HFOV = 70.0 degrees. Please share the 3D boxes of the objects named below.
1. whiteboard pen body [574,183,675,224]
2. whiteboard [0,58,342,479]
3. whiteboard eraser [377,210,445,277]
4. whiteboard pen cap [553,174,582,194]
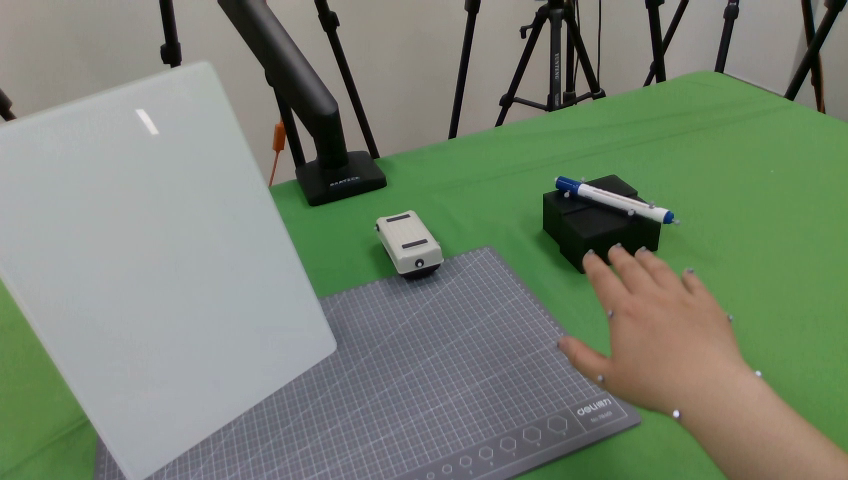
[{"bbox_3d":[0.220,-0.046,0.698,0.139,0.017,0.017,26,46,38],"label":"whiteboard pen body"},{"bbox_3d":[-0.251,0.020,0.568,0.217,0.307,0.143,-31,22,-30],"label":"whiteboard"},{"bbox_3d":[-0.018,0.004,0.733,0.056,0.042,0.111,-17,32,-11],"label":"whiteboard eraser"},{"bbox_3d":[0.174,-0.067,0.734,0.033,0.018,0.018,-18,31,17],"label":"whiteboard pen cap"}]
